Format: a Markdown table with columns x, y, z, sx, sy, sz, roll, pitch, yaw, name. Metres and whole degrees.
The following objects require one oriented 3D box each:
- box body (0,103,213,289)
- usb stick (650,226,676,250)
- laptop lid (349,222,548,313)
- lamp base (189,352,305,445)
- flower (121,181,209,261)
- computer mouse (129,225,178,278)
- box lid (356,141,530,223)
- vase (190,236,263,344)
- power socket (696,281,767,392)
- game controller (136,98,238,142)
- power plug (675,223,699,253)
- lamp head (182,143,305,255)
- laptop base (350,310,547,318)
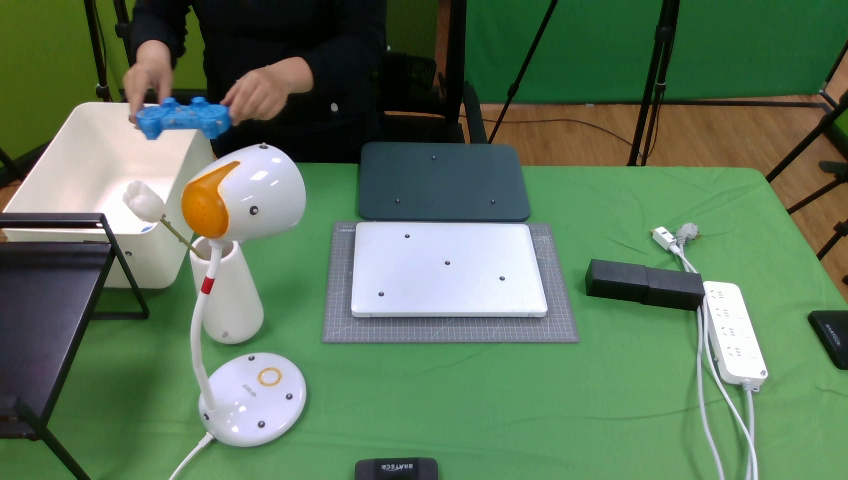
| x | y | z | sx | sy | sz | roll | pitch | yaw | name |
| --- | --- | --- | --- | --- | --- | --- | --- | --- | --- |
| -0.563 | -0.087 | 1.139 | 0.254 | 0.161 | 0.361 | 2 | 46 | -3 | box body |
| 0.485 | -0.008 | 1.237 | 0.021 | 0.027 | 0.059 | -22 | 44 | -13 | usb stick |
| 0.042 | 0.046 | 1.142 | 0.357 | 0.013 | 0.240 | 2 | 44 | -3 | laptop lid |
| -0.268 | 0.196 | 0.876 | 0.160 | 0.181 | 0.179 | 25 | 52 | 20 | lamp base |
| -0.329 | 0.029 | 0.905 | 0.038 | 0.364 | 0.044 | -22 | 58 | -1 | flower |
| -0.500 | 0.018 | 1.121 | 0.063 | 0.041 | 0.116 | 4 | 54 | -5 | computer mouse |
| 0.040 | -0.132 | 1.339 | 0.372 | 0.015 | 0.261 | 0 | 46 | -4 | box lid |
| -0.317 | 0.081 | 0.972 | 0.098 | 0.201 | 0.097 | 3 | 47 | -3 | vase |
| 0.543 | 0.161 | 1.077 | 0.072 | 0.033 | 0.225 | 6 | 46 | 2 | power socket |
| -0.396 | -0.205 | 1.006 | 0.155 | 0.052 | 0.096 | -2 | 39 | -4 | game controller |
| 0.537 | 0.000 | 1.243 | 0.053 | 0.035 | 0.072 | 20 | 82 | -18 | power plug |
| -0.216 | -0.044 | 0.697 | 0.112 | 0.113 | 0.123 | 23 | 31 | 17 | lamp head |
| 0.042 | 0.056 | 1.149 | 0.355 | 0.023 | 0.234 | 0 | 42 | -4 | laptop base |
